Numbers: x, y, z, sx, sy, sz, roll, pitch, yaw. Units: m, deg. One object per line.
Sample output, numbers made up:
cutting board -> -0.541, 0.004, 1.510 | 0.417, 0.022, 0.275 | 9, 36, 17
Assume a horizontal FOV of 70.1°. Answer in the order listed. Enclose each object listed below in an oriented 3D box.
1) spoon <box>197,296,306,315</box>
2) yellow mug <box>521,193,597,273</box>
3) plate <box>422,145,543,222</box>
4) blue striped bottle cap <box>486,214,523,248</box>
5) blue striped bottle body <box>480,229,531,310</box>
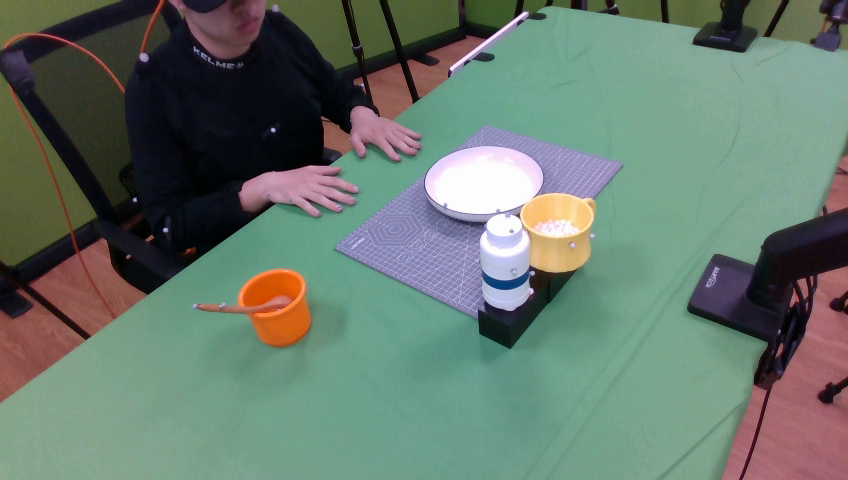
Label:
spoon -> -0.220, 0.089, 0.793 | 0.041, 0.021, 0.195 | 19, 7, 25
yellow mug -> 0.197, -0.019, 0.852 | 0.131, 0.064, 0.099 | -30, 46, -25
plate -> 0.101, -0.094, 1.048 | 0.207, 0.039, 0.206 | -4, 41, 4
blue striped bottle cap -> 0.098, -0.011, 0.735 | 0.044, 0.021, 0.044 | -3, 38, 3
blue striped bottle body -> 0.104, 0.027, 0.769 | 0.063, 0.121, 0.063 | -4, 40, 4
